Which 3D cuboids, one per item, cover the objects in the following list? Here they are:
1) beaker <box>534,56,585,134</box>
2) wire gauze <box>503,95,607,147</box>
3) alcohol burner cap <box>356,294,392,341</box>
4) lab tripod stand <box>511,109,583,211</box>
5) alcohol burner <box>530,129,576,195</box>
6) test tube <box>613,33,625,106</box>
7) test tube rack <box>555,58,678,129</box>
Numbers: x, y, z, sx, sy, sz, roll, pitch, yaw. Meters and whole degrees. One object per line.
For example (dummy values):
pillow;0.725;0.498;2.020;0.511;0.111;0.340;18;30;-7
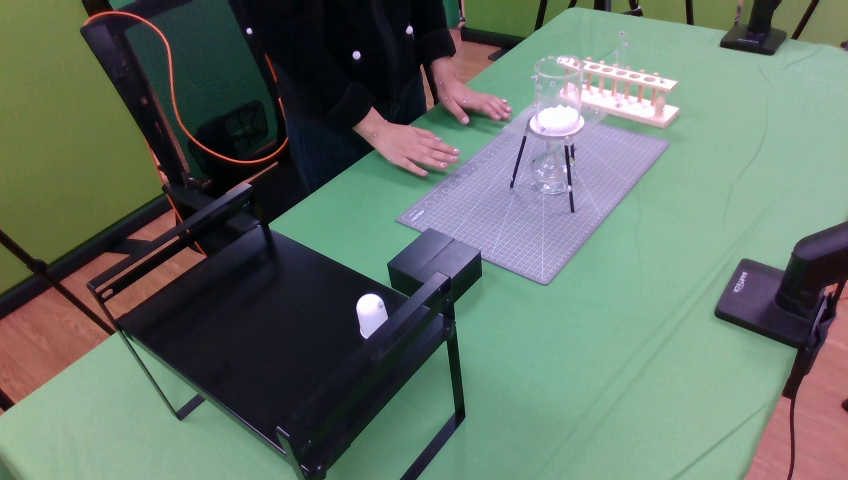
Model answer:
beaker;0.209;-0.226;0.942;0.074;0.101;0.083;-2;41;7
wire gauze;0.212;-0.191;0.976;0.120;0.011;0.125;24;52;32
alcohol burner cap;-0.051;0.074;0.601;0.034;0.048;0.033;-5;42;5
lab tripod stand;0.220;-0.138;1.014;0.148;0.132;0.147;-3;41;3
alcohol burner;0.220;-0.137;1.029;0.078;0.119;0.077;-5;42;5
test tube;0.380;-0.330;1.180;0.017;0.151;0.017;-7;41;6
test tube rack;0.389;-0.307;1.229;0.240;0.085;0.067;25;50;33
